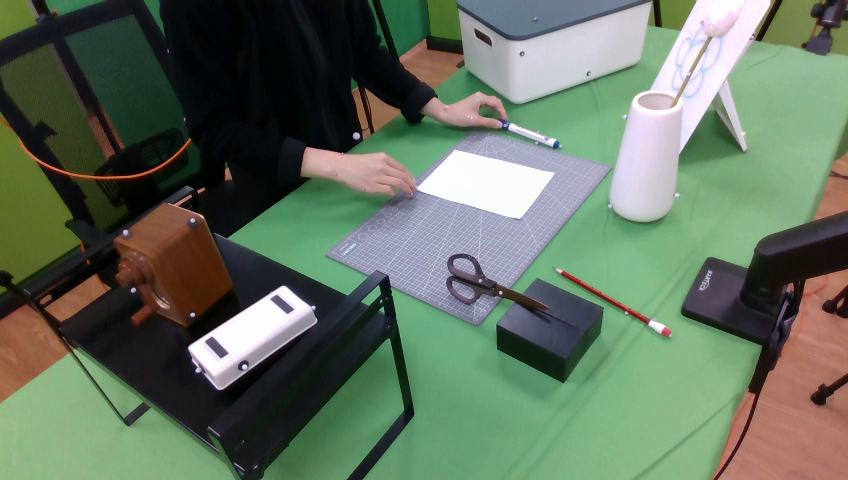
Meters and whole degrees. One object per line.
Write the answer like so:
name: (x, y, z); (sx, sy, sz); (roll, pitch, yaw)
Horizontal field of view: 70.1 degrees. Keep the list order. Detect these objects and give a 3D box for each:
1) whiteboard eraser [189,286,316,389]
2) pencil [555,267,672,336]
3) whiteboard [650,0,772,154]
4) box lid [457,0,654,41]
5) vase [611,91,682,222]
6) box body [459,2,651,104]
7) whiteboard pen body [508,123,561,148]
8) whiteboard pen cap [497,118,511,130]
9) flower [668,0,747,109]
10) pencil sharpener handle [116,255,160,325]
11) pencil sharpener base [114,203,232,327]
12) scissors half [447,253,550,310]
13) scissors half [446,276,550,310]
whiteboard eraser: (-0.166, 0.096, 0.593); (0.113, 0.042, 0.055); (-36, 46, -29)
pencil: (0.260, 0.082, 0.851); (0.012, 0.012, 0.192); (-33, 45, -27)
whiteboard: (0.543, -0.298, 1.076); (0.144, 0.305, 0.216); (12, 40, -7)
box lid: (0.285, -0.522, 1.323); (0.373, 0.015, 0.261); (-22, 43, -16)
vase: (0.348, -0.125, 0.935); (0.098, 0.201, 0.097); (-3, 40, 3)
box body: (0.291, -0.465, 1.371); (0.365, 0.161, 0.252); (-22, 42, -16)
whiteboard pen body: (0.208, -0.211, 1.195); (0.139, 0.017, 0.017); (29, 52, 33)
whiteboard pen cap: (0.164, -0.235, 1.227); (0.033, 0.018, 0.018); (33, 54, 32)
flower: (0.354, -0.187, 0.879); (0.038, 0.362, 0.044); (31, 48, 14)
pencil sharpener handle: (-0.286, 0.050, 0.594); (0.035, 0.068, 0.031); (7, 41, 35)
pencil sharpener base: (-0.262, 0.029, 0.635); (0.061, 0.107, 0.077); (18, 47, 26)
scissors half: (0.098, 0.058, 0.821); (0.173, 0.040, 0.013); (27, 33, 37)
scissors half: (0.098, 0.077, 0.827); (0.174, 0.040, 0.013); (6, 14, 44)
